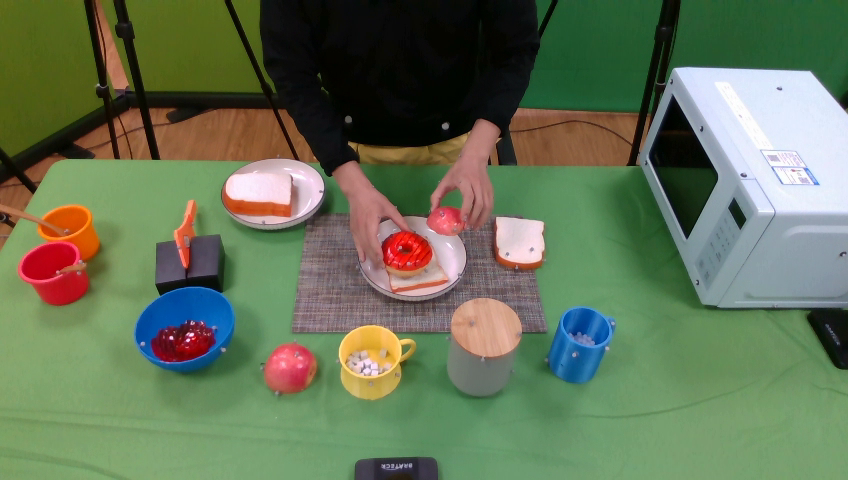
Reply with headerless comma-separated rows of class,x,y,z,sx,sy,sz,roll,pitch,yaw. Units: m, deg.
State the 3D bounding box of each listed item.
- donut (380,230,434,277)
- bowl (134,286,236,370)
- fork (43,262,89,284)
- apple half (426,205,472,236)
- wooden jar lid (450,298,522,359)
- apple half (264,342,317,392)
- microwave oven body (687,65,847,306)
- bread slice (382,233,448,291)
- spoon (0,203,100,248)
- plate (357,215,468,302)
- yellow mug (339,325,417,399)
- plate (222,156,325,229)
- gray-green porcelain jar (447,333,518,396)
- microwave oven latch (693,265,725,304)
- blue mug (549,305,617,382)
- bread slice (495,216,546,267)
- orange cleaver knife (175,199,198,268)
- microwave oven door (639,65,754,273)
donut,-0.031,0.023,1.096,0.099,0.048,0.098,-1,47,2
bowl,-0.377,0.155,0.981,0.151,0.077,0.150,2,46,-2
fork,-0.599,0.053,1.013,0.207,0.019,0.028,-14,30,45
apple half,0.042,-0.043,1.061,0.081,0.033,0.081,1,36,0
wooden jar lid,0.093,0.135,0.914,0.108,0.021,0.107,2,48,-3
apple half,-0.214,0.198,0.970,0.074,0.053,0.080,19,48,10
microwave oven body,0.669,-0.111,1.176,0.326,0.261,0.439,0,46,-3
bread slice,-0.027,0.038,1.140,0.107,0.018,0.133,-11,47,-14
spoon,-0.683,-0.031,1.088,0.195,0.021,0.041,33,33,-38
plate,-0.022,0.037,1.141,0.208,0.039,0.206,2,47,-2
yellow mug,-0.072,0.190,0.978,0.131,0.064,0.099,-17,50,-20
plate,-0.308,-0.095,1.251,0.209,0.038,0.208,2,47,-2
gray-green porcelain jar,0.091,0.178,0.960,0.106,0.127,0.105,2,46,-2
microwave oven latch,0.522,0.081,1.115,0.030,0.029,0.078,2,46,-1
blue mug,0.269,0.166,0.998,0.116,0.106,0.082,-19,51,-21
bread slice,0.194,0.002,1.204,0.105,0.019,0.131,6,45,2
orange cleaver knife,-0.438,-0.017,1.138,0.012,0.077,0.210,-13,27,-7
microwave oven door,0.522,-0.147,1.193,0.039,0.245,0.353,0,47,-3
